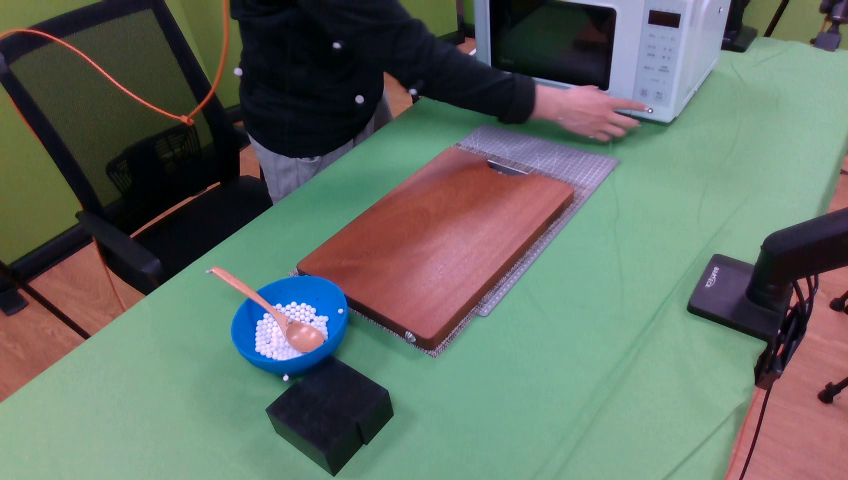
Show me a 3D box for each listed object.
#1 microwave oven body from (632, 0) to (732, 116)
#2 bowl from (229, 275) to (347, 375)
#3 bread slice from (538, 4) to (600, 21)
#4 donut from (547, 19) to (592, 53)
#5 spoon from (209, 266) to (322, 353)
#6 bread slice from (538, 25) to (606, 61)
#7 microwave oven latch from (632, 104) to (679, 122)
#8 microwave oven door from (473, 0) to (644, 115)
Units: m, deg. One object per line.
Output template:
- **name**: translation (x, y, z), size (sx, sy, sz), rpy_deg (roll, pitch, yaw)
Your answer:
- **microwave oven body**: translation (0.377, -0.463, 1.267), size (0.438, 0.261, 0.327), rpy_deg (21, 49, 30)
- **bowl**: translation (-0.171, 0.125, 0.802), size (0.151, 0.077, 0.150), rpy_deg (-4, 40, 4)
- **bread slice**: translation (0.311, -0.483, 1.278), size (0.106, 0.018, 0.135), rpy_deg (13, 31, 25)
- **donut**: translation (0.313, -0.439, 1.300), size (0.099, 0.048, 0.098), rpy_deg (-20, 36, 15)
- **spoon**: translation (-0.214, 0.088, 0.806), size (0.193, 0.021, 0.042), rpy_deg (37, 55, 11)
- **bread slice**: translation (0.333, -0.440, 1.338), size (0.132, 0.019, 0.104), rpy_deg (-36, 43, -21)
- **microwave oven latch**: translation (0.441, -0.248, 1.157), size (0.078, 0.029, 0.030), rpy_deg (18, 47, 27)
- **microwave oven door**: translation (0.257, -0.396, 1.199), size (0.353, 0.245, 0.039), rpy_deg (21, 48, 29)
